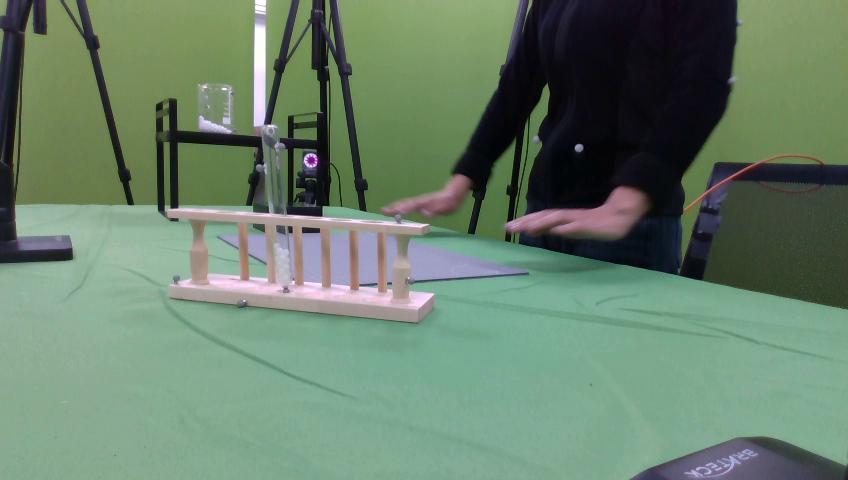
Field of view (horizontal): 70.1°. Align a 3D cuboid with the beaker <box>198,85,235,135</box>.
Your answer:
[{"bbox_3d":[-0.439,-0.273,1.275,0.074,0.100,0.084,5,8,19],"label":"beaker"}]

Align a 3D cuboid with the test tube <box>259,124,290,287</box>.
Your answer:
[{"bbox_3d":[-0.137,-0.031,0.556,0.017,0.150,0.017,-4,7,1],"label":"test tube"}]

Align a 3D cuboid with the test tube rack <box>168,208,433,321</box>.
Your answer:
[{"bbox_3d":[-0.115,0.017,0.574,0.242,0.085,0.067,4,8,13],"label":"test tube rack"}]
